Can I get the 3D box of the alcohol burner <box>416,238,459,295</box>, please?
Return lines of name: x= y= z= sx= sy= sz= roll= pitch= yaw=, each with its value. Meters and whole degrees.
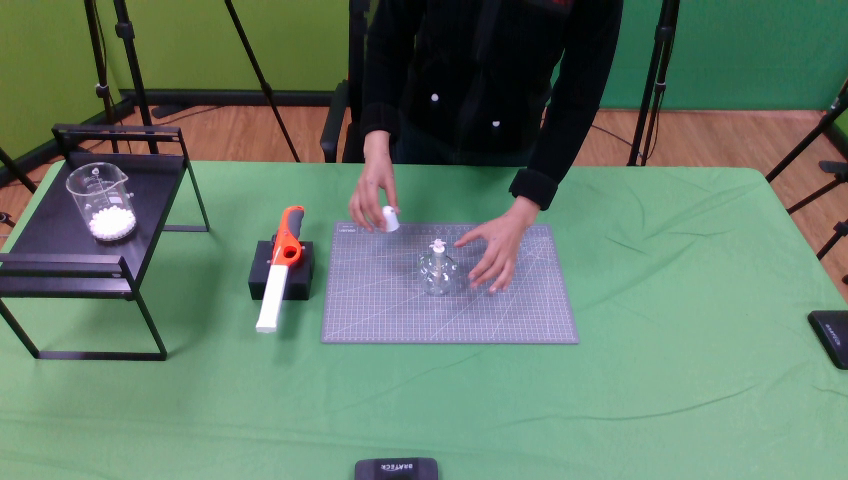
alcohol burner: x=0.024 y=0.042 z=1.088 sx=0.078 sy=0.120 sz=0.077 roll=1 pitch=46 yaw=-1

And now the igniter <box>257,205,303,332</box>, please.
igniter: x=-0.252 y=0.040 z=1.070 sx=0.057 sy=0.025 sz=0.275 roll=3 pitch=50 yaw=-2

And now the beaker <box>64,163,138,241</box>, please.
beaker: x=-0.478 y=-0.055 z=0.910 sx=0.084 sy=0.101 sz=0.073 roll=-9 pitch=48 yaw=-13

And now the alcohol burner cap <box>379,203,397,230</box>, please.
alcohol burner cap: x=-0.068 y=-0.046 z=1.116 sx=0.034 sy=0.048 sz=0.033 roll=-2 pitch=40 yaw=2
